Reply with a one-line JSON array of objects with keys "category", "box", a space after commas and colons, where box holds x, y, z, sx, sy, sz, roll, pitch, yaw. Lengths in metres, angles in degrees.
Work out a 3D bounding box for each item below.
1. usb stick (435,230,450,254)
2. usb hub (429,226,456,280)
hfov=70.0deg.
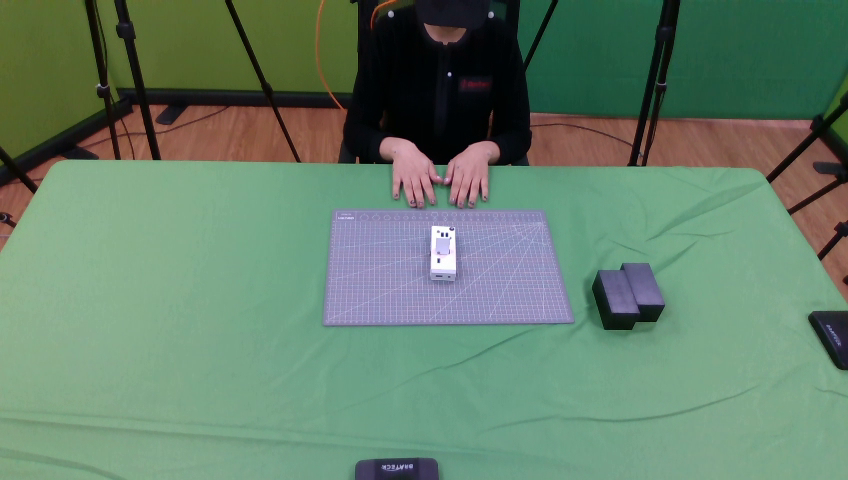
[{"category": "usb stick", "box": [0.034, 0.009, 1.146, 0.027, 0.059, 0.021, 3, 46, -4]}, {"category": "usb hub", "box": [0.037, 0.024, 1.173, 0.049, 0.025, 0.124, 3, 46, -1]}]
